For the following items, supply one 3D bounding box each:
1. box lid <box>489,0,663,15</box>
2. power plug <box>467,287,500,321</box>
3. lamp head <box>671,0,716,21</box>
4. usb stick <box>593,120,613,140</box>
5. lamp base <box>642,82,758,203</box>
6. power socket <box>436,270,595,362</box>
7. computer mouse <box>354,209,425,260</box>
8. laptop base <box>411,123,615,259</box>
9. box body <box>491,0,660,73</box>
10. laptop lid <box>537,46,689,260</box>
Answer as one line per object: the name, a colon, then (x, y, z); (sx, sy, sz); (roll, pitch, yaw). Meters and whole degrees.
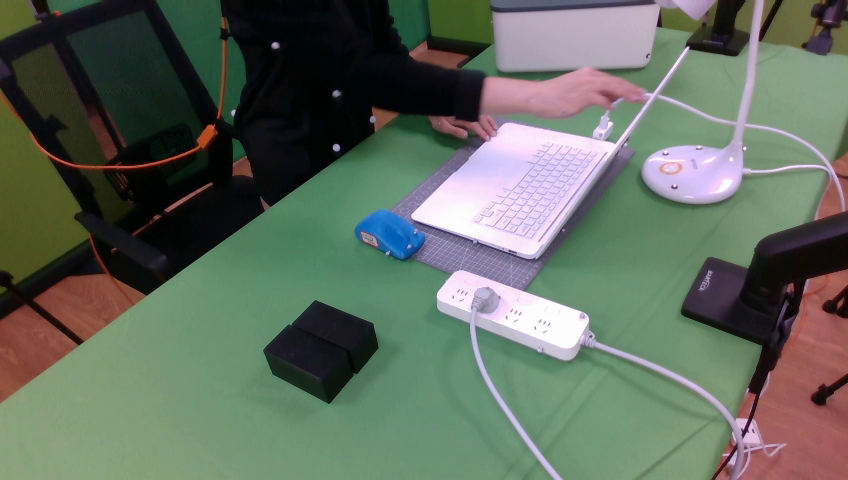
box lid: (0.341, -0.576, 1.380); (0.371, 0.015, 0.262); (0, 41, 10)
power plug: (0.073, 0.092, 0.814); (0.035, 0.053, 0.073); (29, 54, 34)
lamp head: (0.375, -0.373, 0.807); (0.122, 0.113, 0.112); (-40, 27, 32)
usb stick: (0.336, -0.201, 1.146); (0.021, 0.027, 0.059); (26, 53, 27)
lamp base: (0.464, -0.174, 0.992); (0.179, 0.181, 0.159); (-5, 41, -1)
power socket: (0.118, 0.101, 0.832); (0.225, 0.033, 0.072); (19, 48, 27)
computer mouse: (-0.057, -0.012, 0.982); (0.116, 0.041, 0.063); (28, 49, 29)
laptop base: (0.168, -0.101, 1.073); (0.234, 0.023, 0.355); (17, 46, 30)
box body: (0.347, -0.521, 1.429); (0.363, 0.161, 0.253); (1, 41, 9)
laptop lid: (0.293, -0.136, 0.927); (0.013, 0.241, 0.357); (35, 51, 10)
